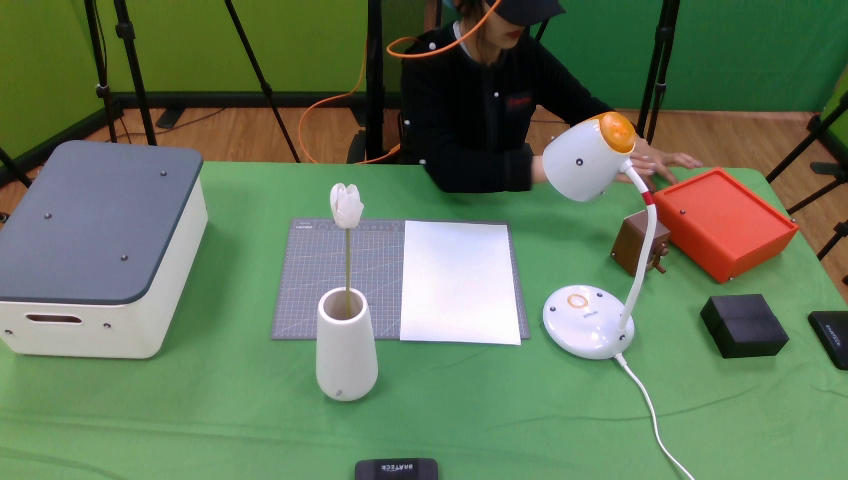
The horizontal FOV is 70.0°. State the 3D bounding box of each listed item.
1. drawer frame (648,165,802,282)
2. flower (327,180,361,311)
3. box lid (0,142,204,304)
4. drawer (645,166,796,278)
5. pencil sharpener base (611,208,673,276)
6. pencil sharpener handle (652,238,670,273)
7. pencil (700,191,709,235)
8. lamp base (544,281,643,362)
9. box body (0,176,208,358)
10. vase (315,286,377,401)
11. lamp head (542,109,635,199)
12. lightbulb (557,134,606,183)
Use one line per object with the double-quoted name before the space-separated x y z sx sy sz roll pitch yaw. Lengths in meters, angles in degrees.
"drawer frame" 0.603 -0.040 1.233 0.202 0.083 0.212 -21 51 -23
"flower" -0.110 0.086 0.867 0.044 0.363 0.038 22 33 35
"box lid" -0.534 -0.044 0.995 0.263 0.015 0.369 3 45 -3
"drawer" 0.600 -0.041 1.235 0.195 0.073 0.210 -21 51 -23
"pencil sharpener base" 0.416 0.007 1.158 0.061 0.107 0.076 -20 51 -22
"pencil sharpener handle" 0.443 0.030 1.120 0.036 0.068 0.030 -24 52 -17
"pencil" 0.583 -0.057 1.257 0.012 0.012 0.193 17 35 12
"lamp base" 0.303 0.095 1.014 0.161 0.181 0.178 -24 54 -24
"box body" -0.546 0.017 1.045 0.254 0.161 0.361 2 46 -2
"vase" -0.119 0.159 0.911 0.098 0.201 0.097 2 47 -2
"lamp head" 0.253 -0.131 0.893 0.113 0.123 0.112 10 66 -24
"lightbulb" 0.242 -0.127 0.916 0.059 0.108 0.059 5 67 -12
